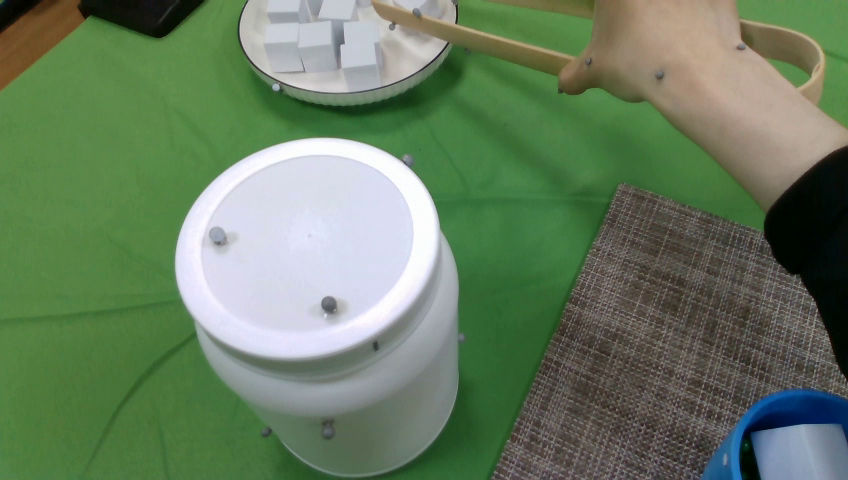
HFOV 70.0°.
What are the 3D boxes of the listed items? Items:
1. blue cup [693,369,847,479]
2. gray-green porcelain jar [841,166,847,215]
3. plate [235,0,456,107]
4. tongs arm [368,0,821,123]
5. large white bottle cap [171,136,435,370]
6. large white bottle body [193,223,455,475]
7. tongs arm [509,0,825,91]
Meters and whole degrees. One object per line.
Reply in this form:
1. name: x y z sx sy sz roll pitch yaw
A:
1. blue cup: 0.187 0.133 0.321 0.092 0.101 0.092 -2 57 4
2. gray-green porcelain jar: 0.369 -0.054 0.420 0.106 0.127 0.105 -1 58 2
3. plate: -0.073 -0.201 0.583 0.207 0.039 0.205 -1 58 2
4. tongs arm: 0.088 -0.155 0.461 0.050 0.027 0.380 -48 50 -10
5. large white bottle cap: -0.052 0.001 0.268 0.115 0.018 0.114 -1 57 2
6. large white bottle body: -0.048 0.047 0.340 0.130 0.186 0.129 -1 58 2
7. tongs arm: 0.109 -0.180 0.467 0.028 0.028 0.383 -47 49 -13
